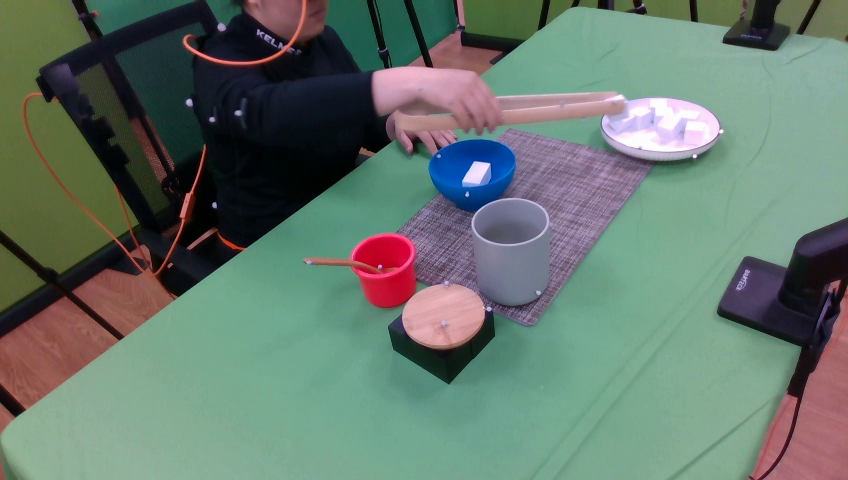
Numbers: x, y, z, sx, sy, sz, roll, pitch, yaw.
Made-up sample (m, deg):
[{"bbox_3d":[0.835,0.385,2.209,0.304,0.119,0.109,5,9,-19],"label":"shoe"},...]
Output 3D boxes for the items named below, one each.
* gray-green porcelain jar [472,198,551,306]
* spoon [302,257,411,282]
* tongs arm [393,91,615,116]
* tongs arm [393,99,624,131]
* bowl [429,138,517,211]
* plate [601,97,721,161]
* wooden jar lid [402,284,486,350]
[{"bbox_3d":[0.125,0.021,0.850,0.106,0.127,0.105,-6,40,5],"label":"gray-green porcelain jar"},{"bbox_3d":[-0.092,0.038,0.865,0.195,0.021,0.041,16,15,-46],"label":"spoon"},{"bbox_3d":[0.137,-0.223,1.001,0.389,0.028,0.028,-6,42,-11],"label":"tongs arm"},{"bbox_3d":[0.142,-0.209,0.983,0.386,0.026,0.050,-9,39,-15],"label":"tongs arm"},{"bbox_3d":[0.087,-0.104,1.043,0.151,0.077,0.150,-5,40,5],"label":"bowl"},{"bbox_3d":[0.437,-0.202,1.126,0.209,0.038,0.208,-5,39,5],"label":"plate"},{"bbox_3d":[0.026,0.101,0.786,0.108,0.021,0.108,-5,39,4],"label":"wooden jar lid"}]
